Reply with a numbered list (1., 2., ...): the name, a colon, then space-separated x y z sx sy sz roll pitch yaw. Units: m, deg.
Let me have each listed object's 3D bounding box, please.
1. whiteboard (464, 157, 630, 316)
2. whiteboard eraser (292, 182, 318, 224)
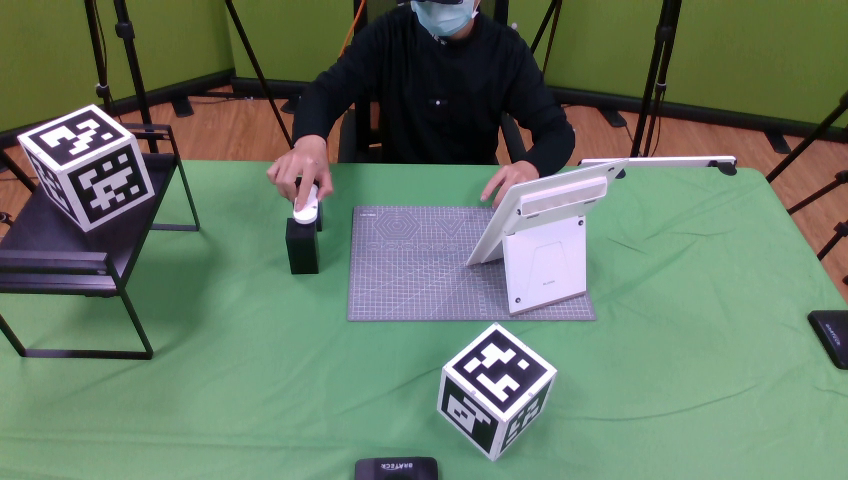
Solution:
1. whiteboard: 0.224 0.015 1.043 0.217 0.306 0.143 -14 68 -17
2. whiteboard eraser: -0.217 -0.069 1.109 0.041 0.019 0.100 -1 47 -4
